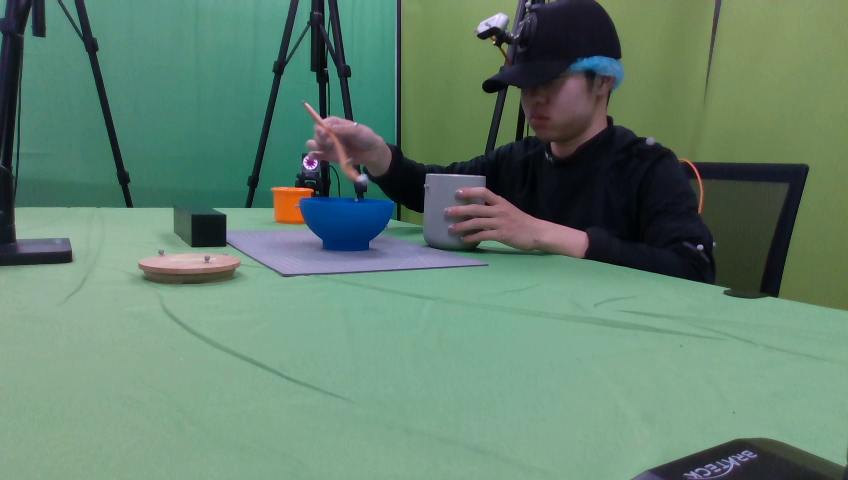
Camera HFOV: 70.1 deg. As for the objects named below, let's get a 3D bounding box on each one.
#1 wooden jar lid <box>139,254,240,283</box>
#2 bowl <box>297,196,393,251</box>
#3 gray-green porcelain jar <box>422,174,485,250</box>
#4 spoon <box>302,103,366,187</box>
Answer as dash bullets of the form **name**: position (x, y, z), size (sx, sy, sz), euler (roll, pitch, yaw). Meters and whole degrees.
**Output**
- **wooden jar lid**: position (-0.269, 0.032, 0.697), size (0.108, 0.020, 0.108), euler (2, 5, 0)
- **bowl**: position (-0.125, -0.026, 0.957), size (0.151, 0.077, 0.151), euler (2, 7, 0)
- **gray-green porcelain jar**: position (0.050, -0.049, 1.040), size (0.106, 0.126, 0.106), euler (2, 8, 0)
- **spoon**: position (-0.152, -0.159, 1.001), size (0.021, 0.193, 0.042), euler (-39, -20, 19)
